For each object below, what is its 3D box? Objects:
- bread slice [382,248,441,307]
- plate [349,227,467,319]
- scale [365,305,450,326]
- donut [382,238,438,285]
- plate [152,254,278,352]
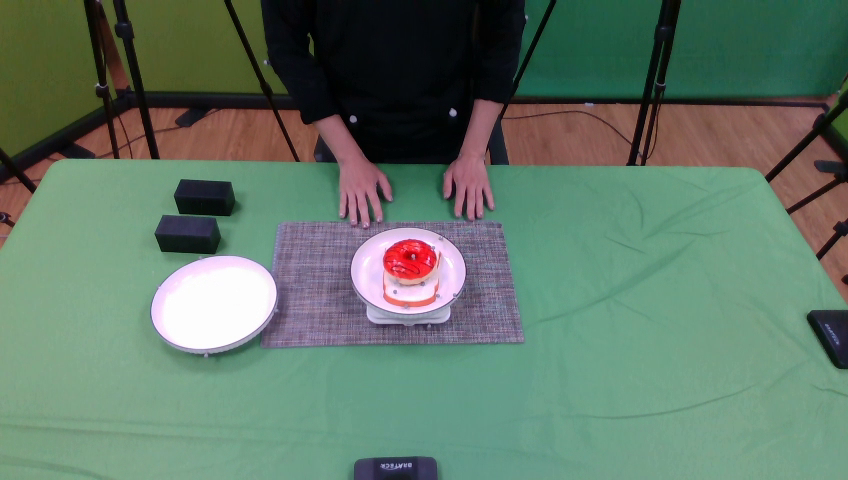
[{"bbox_3d":[-0.023,0.064,1.078,0.105,0.019,0.130,2,46,0],"label":"bread slice"},{"bbox_3d":[-0.029,0.061,1.077,0.209,0.038,0.208,2,46,-2],"label":"plate"},{"bbox_3d":[-0.032,0.071,1.113,0.149,0.032,0.199,0,46,-4],"label":"scale"},{"bbox_3d":[-0.025,0.036,1.064,0.099,0.048,0.098,0,44,0],"label":"donut"},{"bbox_3d":[-0.357,0.111,1.052,0.208,0.039,0.206,2,46,-2],"label":"plate"}]
